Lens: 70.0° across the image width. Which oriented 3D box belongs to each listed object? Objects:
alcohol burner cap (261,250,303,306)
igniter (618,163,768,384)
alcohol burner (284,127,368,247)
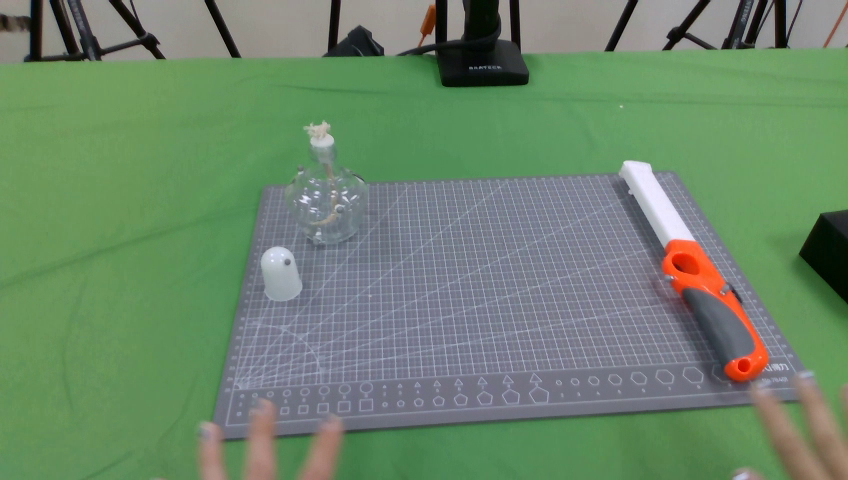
[{"bbox_3d":[-0.122,0.029,0.515,0.034,0.048,0.033,1,41,-1],"label":"alcohol burner cap"},{"bbox_3d":[0.235,0.015,0.550,0.057,0.025,0.273,6,41,-11],"label":"igniter"},{"bbox_3d":[-0.091,-0.052,0.555,0.078,0.120,0.077,2,43,-1],"label":"alcohol burner"}]
